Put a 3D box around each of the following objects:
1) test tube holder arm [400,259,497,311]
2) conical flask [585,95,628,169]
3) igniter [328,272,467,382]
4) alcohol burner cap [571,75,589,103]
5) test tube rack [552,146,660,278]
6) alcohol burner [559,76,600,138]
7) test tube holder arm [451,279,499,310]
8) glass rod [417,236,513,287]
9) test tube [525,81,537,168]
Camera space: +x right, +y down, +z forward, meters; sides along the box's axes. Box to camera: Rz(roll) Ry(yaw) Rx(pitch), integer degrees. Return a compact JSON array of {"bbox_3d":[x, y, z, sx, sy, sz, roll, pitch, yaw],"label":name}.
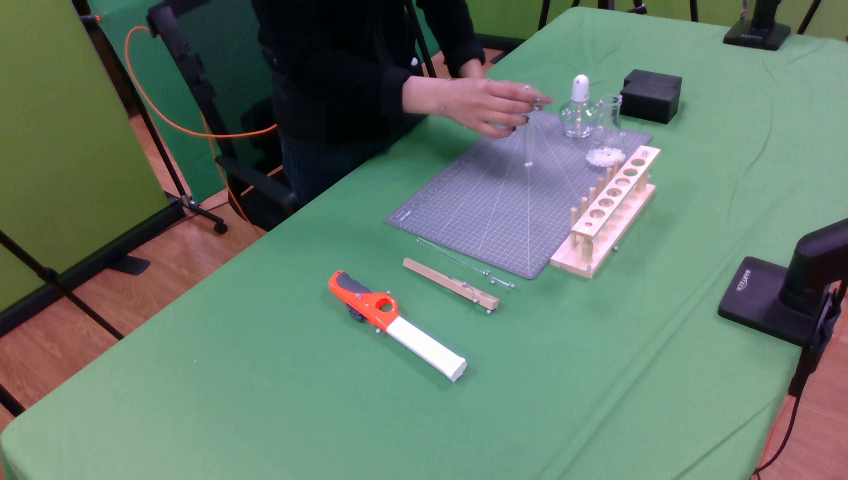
[{"bbox_3d":[0.033,0.064,0.902,0.177,0.015,0.013,23,13,32],"label":"test tube holder arm"},{"bbox_3d":[0.324,-0.192,1.066,0.075,0.122,0.075,-6,40,5],"label":"conical flask"},{"bbox_3d":[-0.049,0.114,0.854,0.274,0.025,0.057,30,63,37],"label":"igniter"},{"bbox_3d":[0.294,-0.284,1.131,0.034,0.048,0.033,-5,46,5],"label":"alcohol burner cap"},{"bbox_3d":[0.286,-0.053,0.943,0.066,0.085,0.243,21,49,32],"label":"test tube rack"},{"bbox_3d":[0.298,-0.257,1.156,0.078,0.119,0.077,-4,39,4],"label":"alcohol burner"},{"bbox_3d":[0.071,0.079,0.882,0.087,0.015,0.010,23,13,34],"label":"test tube holder arm"},{"bbox_3d":[0.059,0.032,0.944,0.198,0.008,0.008,27,52,37],"label":"glass rod"},{"bbox_3d":[0.166,-0.176,0.939,0.017,0.151,0.017,-4,41,4],"label":"test tube"}]
